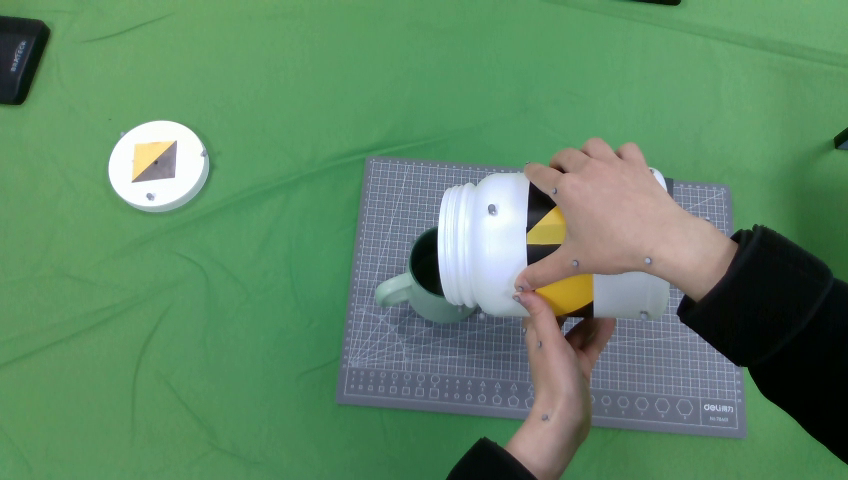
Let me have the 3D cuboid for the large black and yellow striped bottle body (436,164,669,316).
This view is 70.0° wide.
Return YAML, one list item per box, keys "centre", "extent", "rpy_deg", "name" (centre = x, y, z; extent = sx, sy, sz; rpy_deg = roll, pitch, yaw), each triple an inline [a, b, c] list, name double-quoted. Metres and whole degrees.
- centre: [0.111, 0.001, 0.535]
  extent: [0.183, 0.132, 0.130]
  rpy_deg: [-1, 72, 14]
  name: "large black and yellow striped bottle body"

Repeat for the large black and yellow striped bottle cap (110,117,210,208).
- centre: [-0.319, -0.095, 0.733]
  extent: [0.115, 0.019, 0.114]
  rpy_deg: [1, 72, -1]
  name: "large black and yellow striped bottle cap"

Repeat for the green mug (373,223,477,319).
- centre: [0.006, 0.039, 0.650]
  extent: [0.125, 0.105, 0.092]
  rpy_deg: [-20, 74, -7]
  name: "green mug"
